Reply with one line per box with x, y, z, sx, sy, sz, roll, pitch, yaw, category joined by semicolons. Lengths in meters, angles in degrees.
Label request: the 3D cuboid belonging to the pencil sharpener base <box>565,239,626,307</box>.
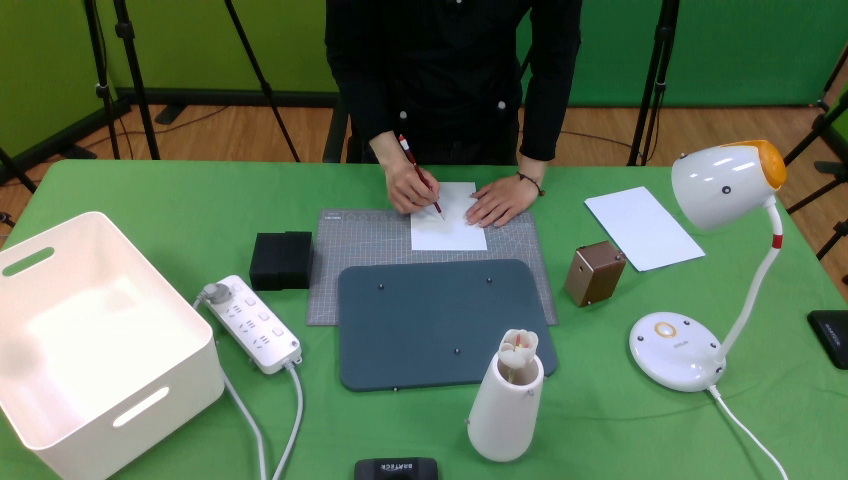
0.313;0.060;1.104;0.077;0.107;0.061;-15;49;-18;pencil sharpener base

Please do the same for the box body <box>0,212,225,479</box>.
-0.504;0.154;0.916;0.362;0.161;0.254;36;54;27;box body

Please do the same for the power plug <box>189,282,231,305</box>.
-0.368;0.097;1.039;0.072;0.053;0.035;-26;55;-20;power plug

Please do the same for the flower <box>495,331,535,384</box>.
0.110;0.187;0.791;0.044;0.363;0.038;-32;65;-10;flower

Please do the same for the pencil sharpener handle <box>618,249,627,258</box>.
0.359;0.036;1.113;0.031;0.068;0.036;-15;61;-18;pencil sharpener handle

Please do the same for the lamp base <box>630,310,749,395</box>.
0.447;0.143;0.984;0.161;0.181;0.178;-24;55;-24;lamp base

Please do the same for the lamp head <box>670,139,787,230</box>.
0.415;-0.079;0.812;0.113;0.123;0.112;13;70;-37;lamp head

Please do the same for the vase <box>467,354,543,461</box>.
0.116;0.234;0.861;0.098;0.201;0.097;1;47;-1;vase

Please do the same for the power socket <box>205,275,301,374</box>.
-0.296;0.140;1.035;0.072;0.033;0.225;-32;57;-29;power socket

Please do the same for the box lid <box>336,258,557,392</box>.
0.030;0.140;1.073;0.372;0.015;0.261;-3;47;-7;box lid

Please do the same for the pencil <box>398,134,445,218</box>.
-0.002;-0.125;1.217;0.012;0.194;0.012;-27;17;9;pencil
